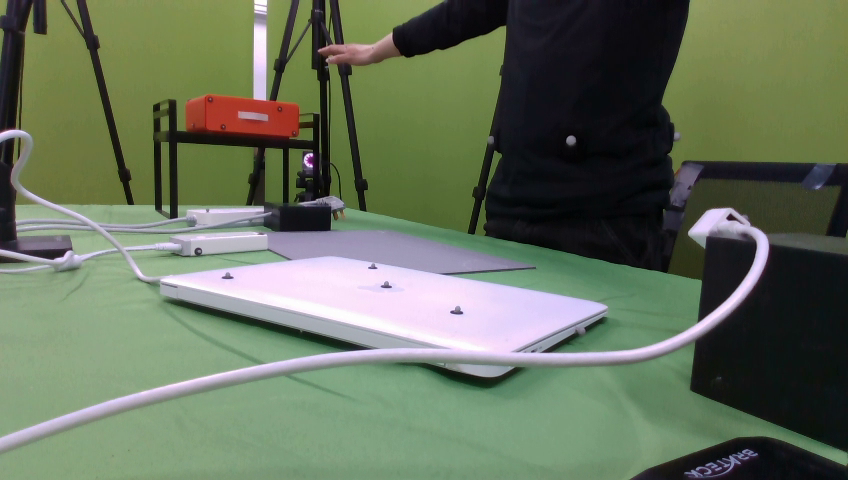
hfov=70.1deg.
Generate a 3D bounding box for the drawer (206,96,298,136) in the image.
[{"bbox_3d":[-0.414,-0.276,1.376,0.195,0.073,0.210,-3,9,-31],"label":"drawer"}]

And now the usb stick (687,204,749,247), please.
[{"bbox_3d":[0.214,-0.010,0.448,0.021,0.027,0.059,39,2,7],"label":"usb stick"}]

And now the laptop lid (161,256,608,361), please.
[{"bbox_3d":[-0.037,0.046,0.556,0.355,0.013,0.243,8,8,35],"label":"laptop lid"}]

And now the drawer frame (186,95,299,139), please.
[{"bbox_3d":[-0.417,-0.277,1.378,0.203,0.082,0.212,-3,8,-32],"label":"drawer frame"}]

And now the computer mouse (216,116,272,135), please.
[{"bbox_3d":[-0.402,-0.257,1.353,0.118,0.041,0.062,-5,14,-35],"label":"computer mouse"}]

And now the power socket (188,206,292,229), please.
[{"bbox_3d":[-0.363,-0.048,1.209,0.072,0.032,0.228,7,9,36],"label":"power socket"}]

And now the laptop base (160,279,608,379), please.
[{"bbox_3d":[-0.038,0.059,0.555,0.352,0.023,0.237,8,7,33],"label":"laptop base"}]

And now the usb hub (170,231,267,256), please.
[{"bbox_3d":[-0.290,0.004,0.862,0.049,0.025,0.126,10,11,42],"label":"usb hub"}]

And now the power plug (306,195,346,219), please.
[{"bbox_3d":[-0.192,-0.061,1.199,0.073,0.052,0.035,-18,-6,-9],"label":"power plug"}]
